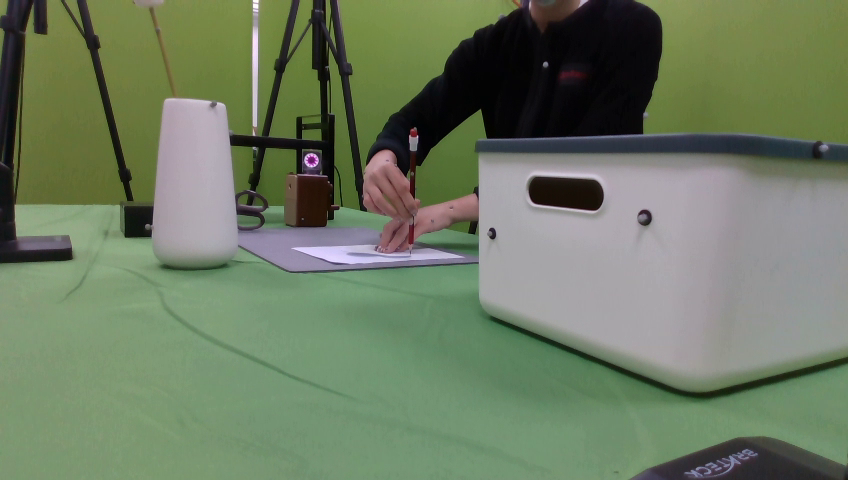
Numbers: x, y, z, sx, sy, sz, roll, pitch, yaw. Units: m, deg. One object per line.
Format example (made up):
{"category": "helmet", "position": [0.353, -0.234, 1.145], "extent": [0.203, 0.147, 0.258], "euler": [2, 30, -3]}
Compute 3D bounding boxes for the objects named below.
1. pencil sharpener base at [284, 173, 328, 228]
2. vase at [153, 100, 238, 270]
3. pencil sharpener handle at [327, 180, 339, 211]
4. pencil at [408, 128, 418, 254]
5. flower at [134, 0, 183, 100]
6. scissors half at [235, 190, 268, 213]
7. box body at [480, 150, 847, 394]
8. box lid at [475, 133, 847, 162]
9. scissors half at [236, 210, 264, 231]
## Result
{"category": "pencil sharpener base", "position": [-0.239, -0.081, 1.231], "extent": [0.077, 0.107, 0.061], "euler": [-2, 8, -36]}
{"category": "vase", "position": [-0.278, -0.066, 0.736], "extent": [0.098, 0.200, 0.098], "euler": [2, 9, 0]}
{"category": "pencil sharpener handle", "position": [-0.194, -0.095, 1.256], "extent": [0.031, 0.067, 0.036], "euler": [-2, -6, -36]}
{"category": "pencil", "position": [-0.017, -0.063, 0.848], "extent": [0.012, 0.194, 0.012], "euler": [2, 30, -1]}
{"category": "flower", "position": [-0.282, -0.147, 0.713], "extent": [0.038, 0.362, 0.044], "euler": [-23, 24, -31]}
{"category": "scissors half", "position": [-0.363, -0.070, 1.060], "extent": [0.176, 0.040, 0.013], "euler": [0, 16, -23]}
{"category": "box body", "position": [0.254, 0.002, 0.539], "extent": [0.366, 0.160, 0.253], "euler": [-2, 8, -31]}
{"category": "box lid", "position": [0.256, -0.073, 0.528], "extent": [0.373, 0.015, 0.262], "euler": [-2, 8, -31]}
{"category": "scissors half", "position": [-0.369, -0.051, 1.065], "extent": [0.176, 0.040, 0.012], "euler": [19, 13, -27]}
